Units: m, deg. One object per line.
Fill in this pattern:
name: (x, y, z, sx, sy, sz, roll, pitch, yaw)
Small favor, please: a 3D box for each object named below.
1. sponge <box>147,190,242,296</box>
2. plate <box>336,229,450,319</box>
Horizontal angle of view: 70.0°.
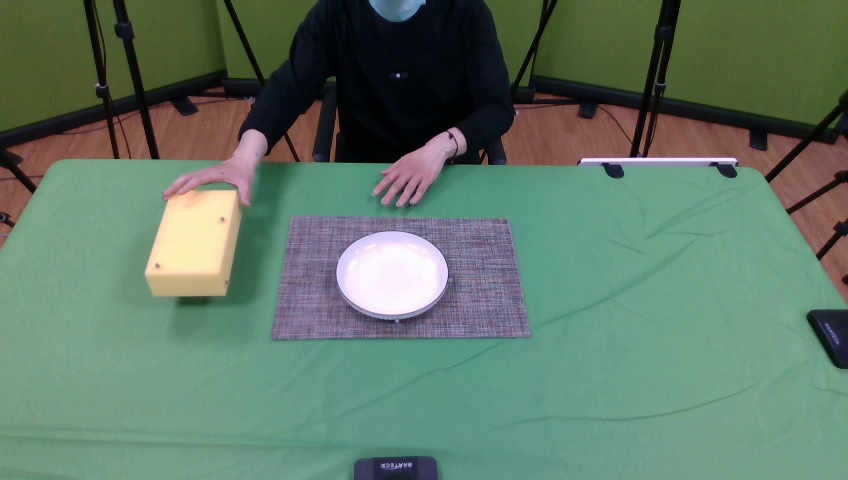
sponge: (-0.399, 0.001, 1.071, 0.118, 0.061, 0.205, -1, 46, -5)
plate: (-0.056, 0.065, 1.113, 0.208, 0.039, 0.206, 2, 46, -2)
